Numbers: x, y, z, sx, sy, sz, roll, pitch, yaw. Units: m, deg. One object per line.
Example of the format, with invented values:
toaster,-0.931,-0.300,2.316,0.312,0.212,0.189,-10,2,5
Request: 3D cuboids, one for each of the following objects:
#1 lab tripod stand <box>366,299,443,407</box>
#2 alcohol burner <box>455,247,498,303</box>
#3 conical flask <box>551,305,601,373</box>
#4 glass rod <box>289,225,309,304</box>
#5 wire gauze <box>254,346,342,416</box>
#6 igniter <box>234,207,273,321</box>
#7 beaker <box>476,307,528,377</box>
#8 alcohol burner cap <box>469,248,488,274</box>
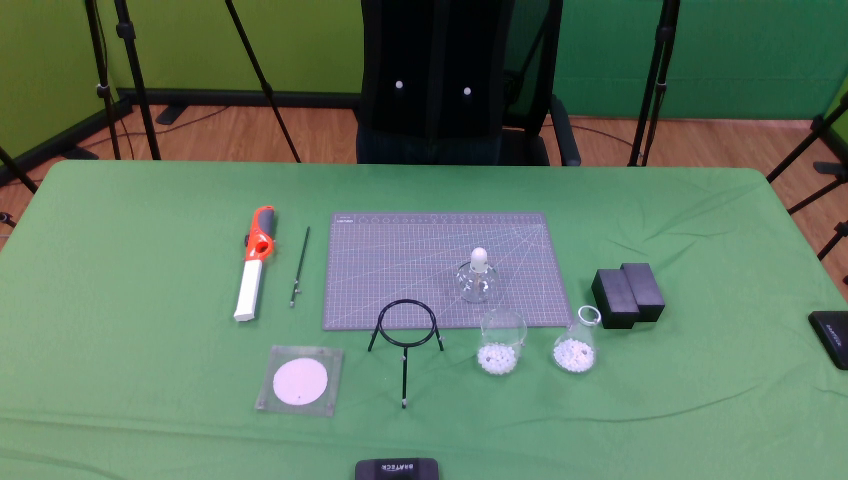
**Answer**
lab tripod stand,-0.028,0.165,0.960,0.148,0.132,0.147,3,44,-2
alcohol burner,0.095,0.057,1.085,0.078,0.120,0.077,1,47,-1
conical flask,0.257,0.158,0.998,0.075,0.122,0.075,2,46,-2
glass rod,-0.235,0.043,1.150,0.008,0.008,0.198,3,46,-1
wire gauze,-0.201,0.223,0.978,0.125,0.011,0.121,4,45,1
igniter,-0.319,0.035,1.137,0.057,0.025,0.274,-7,46,3
beaker,0.122,0.171,0.991,0.084,0.101,0.073,-34,56,-30
alcohol burner cap,0.095,0.034,1.057,0.034,0.048,0.033,-3,52,3
